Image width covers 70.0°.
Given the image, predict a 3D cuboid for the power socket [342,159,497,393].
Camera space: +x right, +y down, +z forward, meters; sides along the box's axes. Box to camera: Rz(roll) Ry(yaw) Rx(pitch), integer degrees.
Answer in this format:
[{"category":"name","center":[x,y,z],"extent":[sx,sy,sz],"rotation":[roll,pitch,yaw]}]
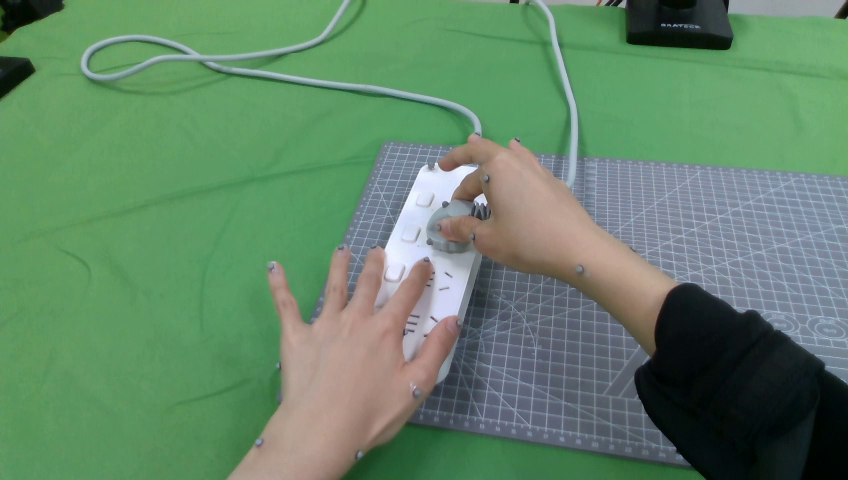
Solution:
[{"category":"power socket","center":[0.004,0.013,0.469],"extent":[0.072,0.033,0.225],"rotation":[9,47,14]}]

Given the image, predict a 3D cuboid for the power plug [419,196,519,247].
[{"category":"power plug","center":[0.031,-0.005,0.452],"extent":[0.072,0.053,0.035],"rotation":[17,51,22]}]
